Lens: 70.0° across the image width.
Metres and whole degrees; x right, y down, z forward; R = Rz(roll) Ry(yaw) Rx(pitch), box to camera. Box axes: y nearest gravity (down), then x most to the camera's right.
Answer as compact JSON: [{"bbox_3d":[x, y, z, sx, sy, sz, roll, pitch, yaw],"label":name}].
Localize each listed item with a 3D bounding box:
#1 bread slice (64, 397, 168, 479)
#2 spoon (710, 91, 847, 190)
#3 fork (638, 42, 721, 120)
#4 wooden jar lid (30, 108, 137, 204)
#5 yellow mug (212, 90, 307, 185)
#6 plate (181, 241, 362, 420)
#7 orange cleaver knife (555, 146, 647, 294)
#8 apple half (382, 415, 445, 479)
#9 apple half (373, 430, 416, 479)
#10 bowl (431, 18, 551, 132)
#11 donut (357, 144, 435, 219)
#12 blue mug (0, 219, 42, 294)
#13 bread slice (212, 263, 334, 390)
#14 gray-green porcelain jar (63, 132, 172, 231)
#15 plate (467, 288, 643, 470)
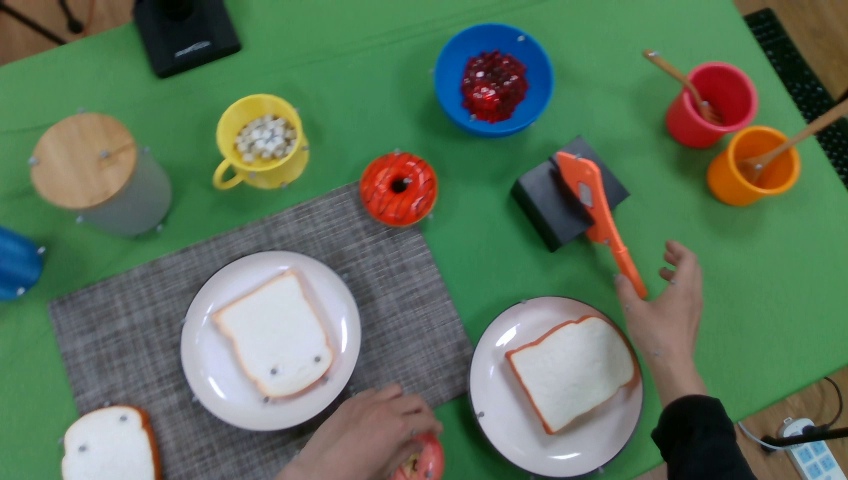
[{"bbox_3d":[-0.352,0.246,0.683,0.105,0.019,0.131,-15,79,-7],"label":"bread slice"},{"bbox_3d":[0.448,-0.126,0.753,0.194,0.022,0.041,-39,76,35],"label":"spoon"},{"bbox_3d":[0.327,-0.198,0.764,0.209,0.018,0.028,21,70,-41],"label":"fork"},{"bbox_3d":[-0.360,-0.088,0.646,0.108,0.021,0.108,1,75,-2],"label":"wooden jar lid"},{"bbox_3d":[-0.213,-0.117,0.756,0.099,0.064,0.130,42,79,7],"label":"yellow mug"},{"bbox_3d":[-0.176,0.105,0.716,0.208,0.039,0.206,1,77,-3],"label":"plate"},{"bbox_3d":[0.218,-0.024,0.749,0.012,0.076,0.213,-35,110,-15],"label":"orange cleaver knife"},{"bbox_3d":[-0.006,0.231,0.682,0.053,0.075,0.080,-32,78,-14],"label":"apple half"},{"bbox_3d":[-0.037,0.251,0.674,0.033,0.081,0.081,-33,80,-12],"label":"apple half"},{"bbox_3d":[0.082,-0.200,0.786,0.151,0.077,0.150,1,77,-3],"label":"bowl"},{"bbox_3d":[-0.035,-0.073,0.763,0.099,0.048,0.098,1,77,-3],"label":"donut"},{"bbox_3d":[-0.516,0.024,0.685,0.082,0.106,0.116,40,78,7],"label":"blue mug"},{"bbox_3d":[-0.169,0.107,0.717,0.107,0.018,0.133,-34,80,-10],"label":"bread slice"},{"bbox_3d":[-0.362,-0.072,0.706,0.106,0.127,0.105,1,76,-3],"label":"gray-green porcelain jar"},{"bbox_3d":[0.153,0.163,0.724,0.209,0.038,0.208,1,76,-2],"label":"plate"}]
